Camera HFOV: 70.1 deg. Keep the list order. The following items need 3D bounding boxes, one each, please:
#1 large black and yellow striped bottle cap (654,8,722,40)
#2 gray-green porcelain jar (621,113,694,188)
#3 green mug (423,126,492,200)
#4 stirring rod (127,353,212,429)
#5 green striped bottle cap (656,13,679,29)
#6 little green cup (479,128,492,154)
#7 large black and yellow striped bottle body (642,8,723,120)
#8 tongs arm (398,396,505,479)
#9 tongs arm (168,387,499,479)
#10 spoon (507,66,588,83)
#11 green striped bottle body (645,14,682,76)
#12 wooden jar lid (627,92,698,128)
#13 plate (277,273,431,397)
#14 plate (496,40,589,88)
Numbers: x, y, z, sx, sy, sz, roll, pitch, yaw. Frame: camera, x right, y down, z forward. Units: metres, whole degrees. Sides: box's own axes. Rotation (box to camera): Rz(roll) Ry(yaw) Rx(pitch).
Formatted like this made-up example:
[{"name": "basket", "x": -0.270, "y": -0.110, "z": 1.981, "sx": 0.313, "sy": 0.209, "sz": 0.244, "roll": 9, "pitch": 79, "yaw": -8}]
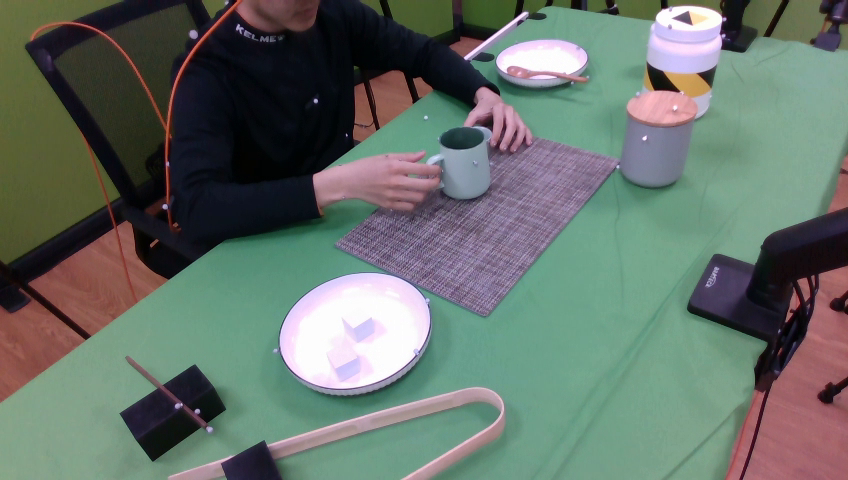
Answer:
[{"name": "large black and yellow striped bottle cap", "x": 0.483, "y": -0.397, "z": 1.108, "sx": 0.115, "sy": 0.019, "sz": 0.114, "roll": -3, "pitch": 41, "yaw": 3}, {"name": "gray-green porcelain jar", "x": 0.390, "y": -0.161, "z": 1.020, "sx": 0.106, "sy": 0.127, "sz": 0.105, "roll": -4, "pitch": 41, "yaw": 4}, {"name": "green mug", "x": 0.055, "y": -0.125, "z": 1.039, "sx": 0.126, "sy": 0.105, "sz": 0.091, "roll": -25, "pitch": 44, "yaw": -18}, {"name": "stirring rod", "x": -0.311, "y": 0.180, "z": 0.731, "sx": 0.175, "sy": 0.014, "sz": 0.006, "roll": 25, "pitch": 53, "yaw": 31}, {"name": "green striped bottle cap", "x": 0.515, "y": -0.463, "z": 1.278, "sx": 0.044, "sy": 0.020, "sz": 0.044, "roll": -6, "pitch": 42, "yaw": 6}, {"name": "little green cup", "x": 0.100, "y": -0.183, "z": 1.153, "sx": 0.061, "sy": 0.039, "sz": 0.061, "roll": -3, "pitch": 38, "yaw": 3}, {"name": "large black and yellow striped bottle body", "x": 0.493, "y": -0.334, "z": 1.161, "sx": 0.131, "sy": 0.185, "sz": 0.130, "roll": -4, "pitch": 41, "yaw": 4}, {"name": "tongs arm", "x": -0.071, "y": 0.272, "z": 0.652, "sx": 0.386, "sy": 0.026, "sz": 0.050, "roll": -21, "pitch": 37, "yaw": -17}, {"name": "tongs arm", "x": -0.100, "y": 0.230, "z": 0.711, "sx": 0.388, "sy": 0.028, "sz": 0.028, "roll": -13, "pitch": 32, "yaw": -7}, {"name": "spoon", "x": 0.265, "y": -0.357, "z": 1.311, "sx": 0.192, "sy": 0.022, "sz": 0.042, "roll": 18, "pitch": 47, "yaw": 38}, {"name": "green striped bottle body", "x": 0.520, "y": -0.424, "z": 1.312, "sx": 0.063, "sy": 0.120, "sz": 0.063, "roll": -4, "pitch": 40, "yaw": 4}, {"name": "wooden jar lid", "x": 0.384, "y": -0.207, "z": 0.980, "sx": 0.108, "sy": 0.021, "sz": 0.108, "roll": -6, "pitch": 39, "yaw": 5}, {"name": "plate", "x": -0.091, "y": 0.129, "z": 0.821, "sx": 0.207, "sy": 0.039, "sz": 0.206, "roll": -4, "pitch": 41, "yaw": 4}, {"name": "plate", "x": 0.269, "y": -0.398, "z": 1.381, "sx": 0.209, "sy": 0.038, "sz": 0.208, "roll": -4, "pitch": 41, "yaw": 4}]
